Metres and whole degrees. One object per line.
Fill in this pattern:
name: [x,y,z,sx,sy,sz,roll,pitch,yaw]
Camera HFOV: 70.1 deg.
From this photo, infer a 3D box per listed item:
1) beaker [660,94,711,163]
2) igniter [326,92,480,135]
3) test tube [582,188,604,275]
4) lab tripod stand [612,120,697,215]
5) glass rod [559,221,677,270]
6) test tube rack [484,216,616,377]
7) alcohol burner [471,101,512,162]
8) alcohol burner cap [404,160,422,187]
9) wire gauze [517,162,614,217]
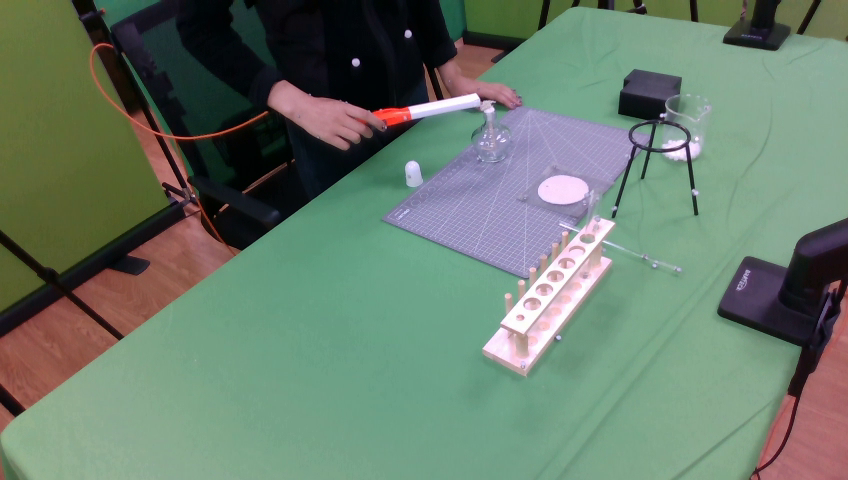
beaker: [0.457,-0.192,1.063,0.074,0.101,0.083,-7,41,4]
igniter: [-0.038,-0.225,1.077,0.277,0.025,0.057,-12,35,-5]
test tube: [0.228,-0.007,0.821,0.017,0.151,0.017,-3,42,3]
lab tripod stand: [0.369,-0.112,0.958,0.148,0.132,0.147,-4,40,4]
glass rod: [0.292,0.007,0.927,0.198,0.008,0.008,26,52,36]
test tube rack: [0.174,0.064,0.823,0.066,0.085,0.243,23,49,33]
alcohol burner: [0.125,-0.207,1.126,0.078,0.119,0.077,-5,43,5]
alcohol burner cap: [-0.023,-0.125,1.118,0.034,0.048,0.033,-4,40,4]
wire gauze: [0.245,-0.088,1.046,0.120,0.011,0.125,25,50,32]
